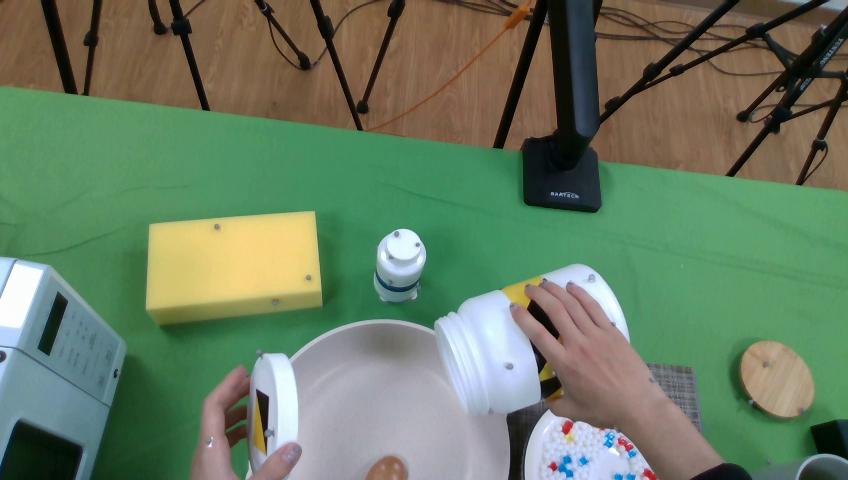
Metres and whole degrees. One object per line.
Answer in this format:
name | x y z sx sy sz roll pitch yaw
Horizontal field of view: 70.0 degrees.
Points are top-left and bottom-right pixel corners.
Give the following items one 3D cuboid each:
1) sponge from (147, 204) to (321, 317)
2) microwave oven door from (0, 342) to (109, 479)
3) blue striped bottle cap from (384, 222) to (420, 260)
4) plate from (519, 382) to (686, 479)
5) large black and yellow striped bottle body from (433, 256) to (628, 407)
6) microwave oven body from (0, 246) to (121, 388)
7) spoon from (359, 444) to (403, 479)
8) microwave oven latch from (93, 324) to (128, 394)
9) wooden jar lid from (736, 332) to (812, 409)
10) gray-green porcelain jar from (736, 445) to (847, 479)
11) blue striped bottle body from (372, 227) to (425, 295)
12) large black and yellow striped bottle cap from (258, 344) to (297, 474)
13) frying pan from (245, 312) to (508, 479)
sponge | -0.242 0.025 0.789 0.207 0.061 0.117 -6 66 -12
microwave oven door | -0.377 0.288 0.521 0.039 0.245 0.353 7 63 -6
blue striped bottle cap | -0.027 0.000 0.743 0.044 0.021 0.044 3 61 -6
plate | 0.216 0.282 0.747 0.209 0.038 0.207 3 64 -6
large black and yellow striped bottle body | 0.113 0.104 0.671 0.184 0.131 0.129 -17 68 -9
microwave oven body | -0.518 0.236 0.531 0.327 0.261 0.438 7 64 -6
spoon | -0.089 0.292 0.662 0.041 0.022 0.194 46 41 9
microwave oven latch | -0.371 0.138 0.708 0.030 0.029 0.078 7 64 -6
wooden jar lid | 0.487 0.184 0.850 0.108 0.021 0.107 3 66 -7
gray-green porcelain jar | 0.448 0.308 0.725 0.106 0.127 0.105 3 64 -7
blue striped bottle body | -0.033 0.022 0.790 0.063 0.121 0.062 3 64 -7
large black and yellow striped bottle cap | -0.135 0.152 0.550 0.019 0.115 0.114 -1 64 -22
frying pan | -0.014 0.314 0.659 0.307 0.103 0.483 -15 60 -15
